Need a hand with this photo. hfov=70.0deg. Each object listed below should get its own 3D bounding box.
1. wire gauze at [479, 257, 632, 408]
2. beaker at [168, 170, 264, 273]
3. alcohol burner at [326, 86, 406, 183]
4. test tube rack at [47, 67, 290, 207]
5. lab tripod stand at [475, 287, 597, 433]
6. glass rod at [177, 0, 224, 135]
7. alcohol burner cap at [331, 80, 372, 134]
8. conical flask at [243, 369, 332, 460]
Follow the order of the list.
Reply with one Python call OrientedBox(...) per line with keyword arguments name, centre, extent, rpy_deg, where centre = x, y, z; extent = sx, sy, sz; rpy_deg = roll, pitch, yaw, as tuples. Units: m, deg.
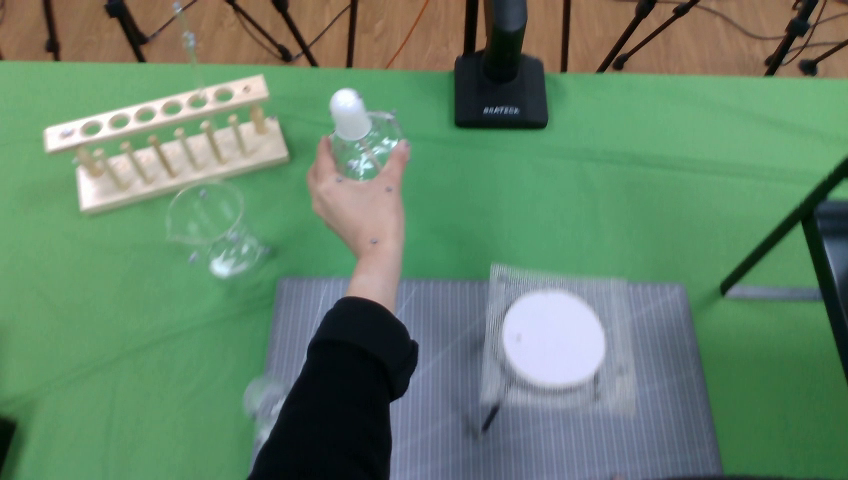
OrientedBox(name="wire gauze", centre=(0.110, 0.074, 0.503), extent=(0.121, 0.011, 0.124), rpy_deg=(6, 63, 1))
OrientedBox(name="beaker", centre=(-0.218, -0.013, 0.645), extent=(0.084, 0.101, 0.073), rpy_deg=(-38, 68, -18))
OrientedBox(name="alcohol burner", centre=(-0.058, -0.104, 0.561), extent=(0.078, 0.120, 0.077), rpy_deg=(-4, 65, 9))
OrientedBox(name="test tube rack", centre=(-0.291, -0.120, 0.709), extent=(0.243, 0.086, 0.066), rpy_deg=(-17, 63, -9))
OrientedBox(name="lab tripod stand", centre=(0.103, 0.110, 0.561), extent=(0.148, 0.132, 0.147), rpy_deg=(1, 60, -1))
OrientedBox(name="glass rod", centre=(-0.242, -0.181, 0.666), extent=(0.008, 0.201, 0.008), rpy_deg=(2, 60, -4))
OrientedBox(name="alcohol burner cap", centre=(-0.065, -0.119, 0.529), extent=(0.034, 0.048, 0.033), rpy_deg=(-1, 66, 3))
OrientedBox(name="conical flask", centre=(-0.128, 0.150, 0.543), extent=(0.075, 0.123, 0.074), rpy_deg=(0, 61, 0))
